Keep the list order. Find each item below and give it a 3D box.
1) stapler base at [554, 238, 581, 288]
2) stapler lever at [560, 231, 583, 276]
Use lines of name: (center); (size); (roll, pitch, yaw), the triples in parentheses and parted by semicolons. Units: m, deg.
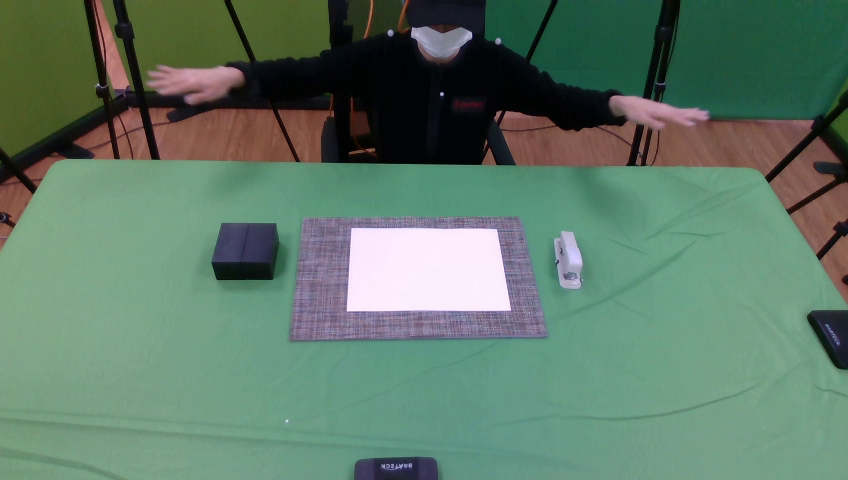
stapler base: (0.282, 0.038, 1.181); (0.041, 0.024, 0.130); (5, 44, -2)
stapler lever: (0.283, 0.018, 1.165); (0.027, 0.040, 0.117); (5, 44, -2)
